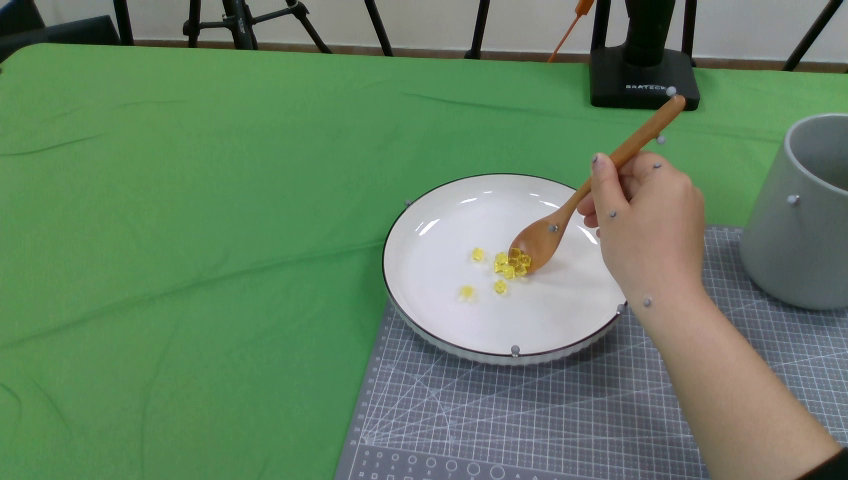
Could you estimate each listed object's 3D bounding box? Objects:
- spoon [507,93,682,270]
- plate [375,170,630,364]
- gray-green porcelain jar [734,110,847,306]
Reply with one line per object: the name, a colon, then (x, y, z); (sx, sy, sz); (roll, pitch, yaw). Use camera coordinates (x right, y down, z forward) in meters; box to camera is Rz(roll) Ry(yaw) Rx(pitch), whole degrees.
spoon: (0.122, -0.038, 0.463); (0.022, 0.194, 0.041); (6, 52, -27)
plate: (0.064, 0.020, 0.512); (0.207, 0.039, 0.205); (-1, 46, 2)
gray-green porcelain jar: (0.311, -0.019, 0.472); (0.106, 0.128, 0.105); (-2, 46, 2)
